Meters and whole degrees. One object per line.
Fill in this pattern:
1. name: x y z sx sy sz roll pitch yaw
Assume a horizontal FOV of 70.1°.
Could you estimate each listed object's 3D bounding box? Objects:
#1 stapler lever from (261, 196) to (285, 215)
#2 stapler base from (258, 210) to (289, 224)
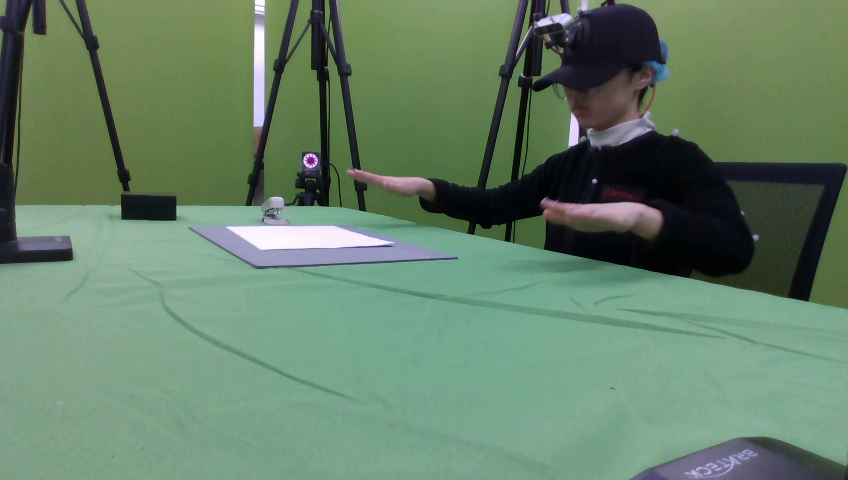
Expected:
1. stapler lever: -0.323 -0.076 1.293 0.027 0.040 0.117 1 6 -27
2. stapler base: -0.323 -0.052 1.295 0.041 0.024 0.130 1 5 -27
